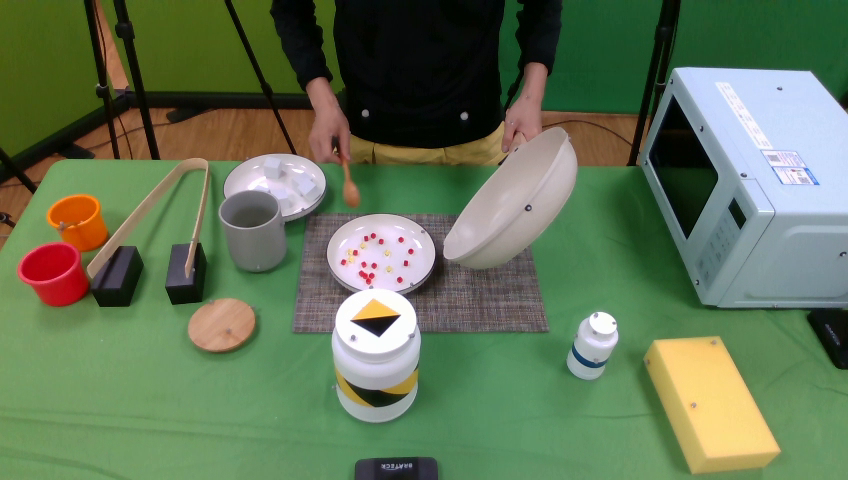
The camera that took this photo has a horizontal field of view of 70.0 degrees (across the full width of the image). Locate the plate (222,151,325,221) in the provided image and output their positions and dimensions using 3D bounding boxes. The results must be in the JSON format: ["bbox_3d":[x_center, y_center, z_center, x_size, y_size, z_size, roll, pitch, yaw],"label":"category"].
[{"bbox_3d":[-0.310,-0.106,1.263,0.208,0.039,0.206,2,47,-2],"label":"plate"}]

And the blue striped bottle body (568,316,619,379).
[{"bbox_3d":[0.276,0.168,0.984,0.063,0.121,0.062,2,46,-2],"label":"blue striped bottle body"}]

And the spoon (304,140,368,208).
[{"bbox_3d":[-0.175,-0.131,1.183,0.041,0.022,0.193,-28,72,-34],"label":"spoon"}]

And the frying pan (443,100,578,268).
[{"bbox_3d":[0.169,-0.133,1.105,0.103,0.307,0.485,35,40,-18],"label":"frying pan"}]

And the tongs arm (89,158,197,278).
[{"bbox_3d":[-0.530,-0.057,1.164,0.028,0.028,0.385,1,36,8],"label":"tongs arm"}]

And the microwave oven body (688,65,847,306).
[{"bbox_3d":[0.669,-0.111,1.176,0.326,0.261,0.439,0,46,-3],"label":"microwave oven body"}]

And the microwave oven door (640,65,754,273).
[{"bbox_3d":[0.524,-0.148,1.193,0.039,0.245,0.353,0,47,-3],"label":"microwave oven door"}]

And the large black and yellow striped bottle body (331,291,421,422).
[{"bbox_3d":[-0.071,0.175,0.911,0.131,0.185,0.130,2,47,-2],"label":"large black and yellow striped bottle body"}]

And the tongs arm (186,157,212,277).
[{"bbox_3d":[-0.445,-0.058,1.168,0.051,0.026,0.382,-5,37,-6],"label":"tongs arm"}]

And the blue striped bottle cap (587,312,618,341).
[{"bbox_3d":[0.279,0.134,0.947,0.044,0.021,0.044,2,44,-2],"label":"blue striped bottle cap"}]

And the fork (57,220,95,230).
[{"bbox_3d":[-0.624,-0.027,1.086,0.028,0.207,0.018,-2,91,-17],"label":"fork"}]

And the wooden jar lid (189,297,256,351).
[{"bbox_3d":[-0.342,0.145,1.033,0.108,0.021,0.107,2,45,-2],"label":"wooden jar lid"}]

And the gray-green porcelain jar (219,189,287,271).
[{"bbox_3d":[-0.310,-0.014,1.113,0.106,0.127,0.105,2,46,-2],"label":"gray-green porcelain jar"}]

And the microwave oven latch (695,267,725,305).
[{"bbox_3d":[0.524,0.082,1.115,0.030,0.029,0.078,4,46,1],"label":"microwave oven latch"}]

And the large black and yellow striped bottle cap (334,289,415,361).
[{"bbox_3d":[-0.069,0.117,0.850,0.115,0.019,0.114,2,45,-2],"label":"large black and yellow striped bottle cap"}]

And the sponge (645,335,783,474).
[{"bbox_3d":[0.449,0.253,0.956,0.118,0.061,0.205,-4,46,-7],"label":"sponge"}]

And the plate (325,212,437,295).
[{"bbox_3d":[-0.080,0.030,1.143,0.209,0.038,0.208,2,46,-2],"label":"plate"}]
